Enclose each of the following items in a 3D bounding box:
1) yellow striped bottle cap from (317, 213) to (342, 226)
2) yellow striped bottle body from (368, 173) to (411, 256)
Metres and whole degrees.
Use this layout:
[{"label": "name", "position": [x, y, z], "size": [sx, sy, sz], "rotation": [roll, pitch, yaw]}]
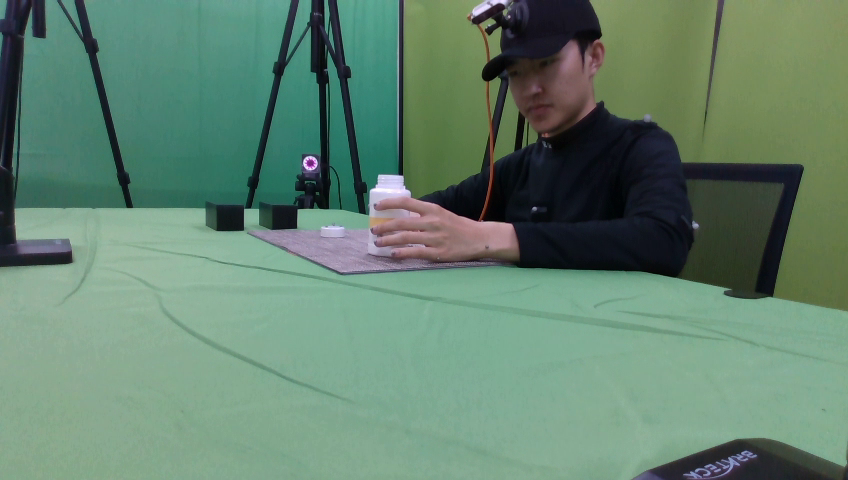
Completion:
[{"label": "yellow striped bottle cap", "position": [-0.171, -0.038, 1.102], "size": [0.044, 0.018, 0.044], "rotation": [-4, 13, 1]}, {"label": "yellow striped bottle body", "position": [-0.052, -0.040, 0.904], "size": [0.063, 0.120, 0.063], "rotation": [2, 7, 0]}]
